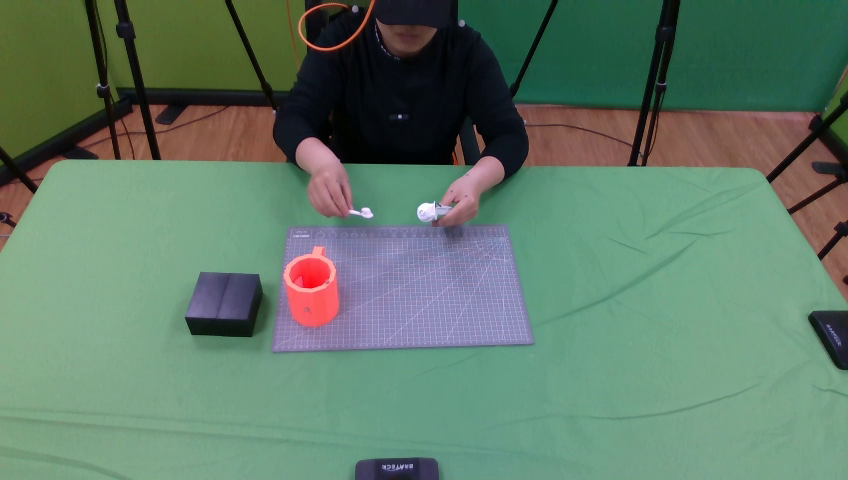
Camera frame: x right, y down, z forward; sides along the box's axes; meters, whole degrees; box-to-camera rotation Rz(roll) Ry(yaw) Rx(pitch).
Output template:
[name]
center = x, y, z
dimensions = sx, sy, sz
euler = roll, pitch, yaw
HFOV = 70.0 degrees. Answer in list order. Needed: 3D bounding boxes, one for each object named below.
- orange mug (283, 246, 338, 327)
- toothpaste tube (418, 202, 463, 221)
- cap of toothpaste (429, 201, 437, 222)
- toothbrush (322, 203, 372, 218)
[orange mug]
center = -0.192, 0.074, 1.056
dimensions = 0.083, 0.101, 0.125
euler = 5, 50, 1
[toothpaste tube]
center = 0.027, -0.054, 1.153
dimensions = 0.055, 0.165, 0.034
euler = -20, 85, 19
[cap of toothpaste]
center = 0.015, -0.050, 1.063
dimensions = 0.011, 0.037, 0.037
euler = 4, 46, 7
[toothbrush]
center = -0.150, -0.059, 1.140
dimensions = 0.014, 0.017, 0.181
euler = -38, 27, -25
